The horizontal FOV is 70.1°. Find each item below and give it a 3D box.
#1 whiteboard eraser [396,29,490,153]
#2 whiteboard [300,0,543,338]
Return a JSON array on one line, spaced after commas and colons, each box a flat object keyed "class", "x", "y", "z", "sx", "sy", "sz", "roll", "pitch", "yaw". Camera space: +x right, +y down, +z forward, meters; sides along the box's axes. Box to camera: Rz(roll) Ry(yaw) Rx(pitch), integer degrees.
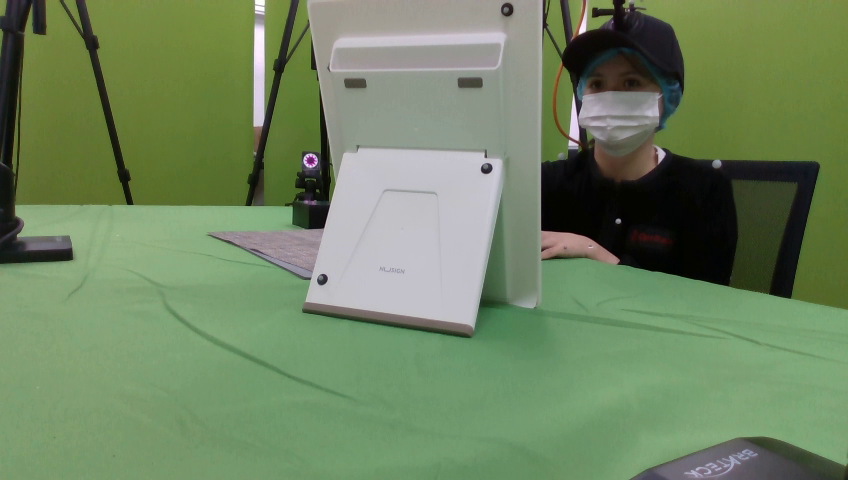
[{"class": "whiteboard eraser", "x": 0.016, "y": -0.141, "z": 0.585, "sx": 0.055, "sy": 0.112, "sz": 0.042, "roll": 26, "pitch": 39, "yaw": -2}, {"class": "whiteboard", "x": -0.020, "y": -0.050, "z": 0.523, "sx": 0.216, "sy": 0.305, "sz": 0.144, "roll": 6, "pitch": 27, "yaw": 22}]
